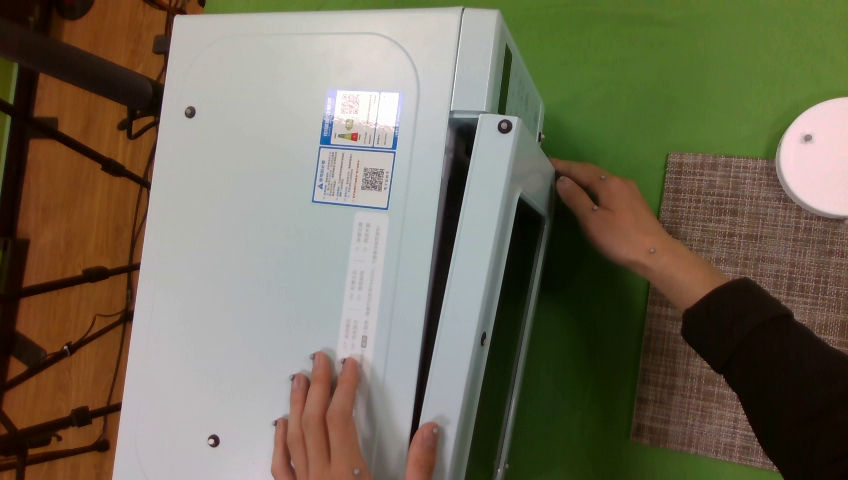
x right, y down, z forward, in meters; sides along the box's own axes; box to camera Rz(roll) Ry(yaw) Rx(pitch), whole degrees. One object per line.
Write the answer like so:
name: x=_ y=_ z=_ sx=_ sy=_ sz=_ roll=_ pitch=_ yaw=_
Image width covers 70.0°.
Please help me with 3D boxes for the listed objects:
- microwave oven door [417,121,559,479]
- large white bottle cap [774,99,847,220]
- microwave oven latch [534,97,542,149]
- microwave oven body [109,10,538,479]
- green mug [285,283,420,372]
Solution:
microwave oven door: x=0.059 y=0.096 z=0.546 sx=0.039 sy=0.245 sz=0.355 roll=10 pitch=89 yaw=20
large white bottle cap: x=0.397 y=-0.076 z=0.575 sx=0.114 sy=0.018 sz=0.114 roll=-2 pitch=84 yaw=19
microwave oven latch: x=0.110 y=-0.113 z=0.652 sx=0.030 sy=0.029 sz=0.079 roll=6 pitch=88 yaw=19
microwave oven body: x=-0.083 y=0.039 z=0.604 sx=0.324 sy=0.261 sz=0.441 roll=6 pitch=88 yaw=19
green mug: x=-0.066 y=0.088 z=0.618 sx=0.125 sy=0.105 sz=0.092 roll=-7 pitch=84 yaw=15
